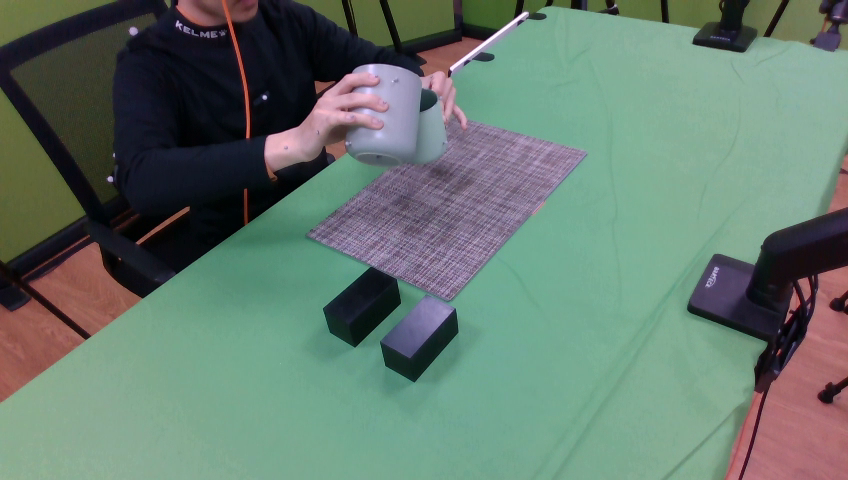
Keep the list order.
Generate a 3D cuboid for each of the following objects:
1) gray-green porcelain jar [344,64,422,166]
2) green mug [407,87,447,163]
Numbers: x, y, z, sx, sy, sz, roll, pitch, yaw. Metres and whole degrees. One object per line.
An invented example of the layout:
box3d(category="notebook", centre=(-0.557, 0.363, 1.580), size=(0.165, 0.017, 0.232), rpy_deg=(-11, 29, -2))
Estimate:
box3d(category="gray-green porcelain jar", centre=(-0.062, -0.179, 0.892), size=(0.105, 0.106, 0.126), rpy_deg=(4, 82, 13))
box3d(category="green mug", centre=(-0.006, -0.204, 1.033), size=(0.092, 0.105, 0.125), rpy_deg=(4, 46, 13))
